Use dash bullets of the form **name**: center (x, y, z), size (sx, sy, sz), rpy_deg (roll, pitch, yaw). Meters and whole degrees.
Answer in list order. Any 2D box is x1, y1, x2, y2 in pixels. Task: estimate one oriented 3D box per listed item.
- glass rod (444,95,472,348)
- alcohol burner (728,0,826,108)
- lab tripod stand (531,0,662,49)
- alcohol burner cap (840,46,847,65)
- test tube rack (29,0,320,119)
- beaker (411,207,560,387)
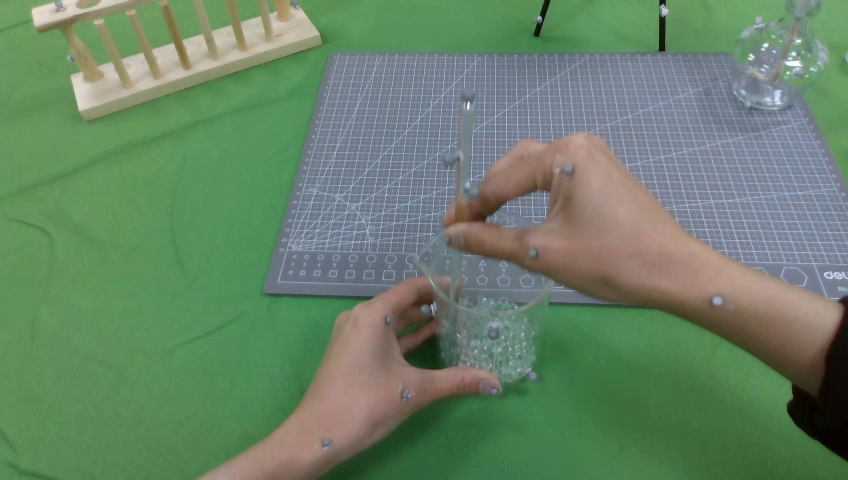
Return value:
- **glass rod**: center (0.017, 0.006, 0.335), size (0.008, 0.201, 0.008), rpy_deg (0, 49, 0)
- **alcohol burner**: center (0.306, -0.173, 0.514), size (0.078, 0.120, 0.077), rpy_deg (-1, 54, 2)
- **lab tripod stand**: center (0.183, -0.270, 0.588), size (0.148, 0.132, 0.147), rpy_deg (0, 52, 1)
- **alcohol burner cap**: center (0.421, -0.190, 0.570), size (0.034, 0.048, 0.033), rpy_deg (-1, 51, 2)
- **test tube rack**: center (-0.234, -0.209, 0.593), size (0.242, 0.086, 0.066), rpy_deg (-23, 54, -15)
- **beaker**: center (0.036, 0.040, 0.375), size (0.084, 0.101, 0.073), rpy_deg (5, 52, 7)
